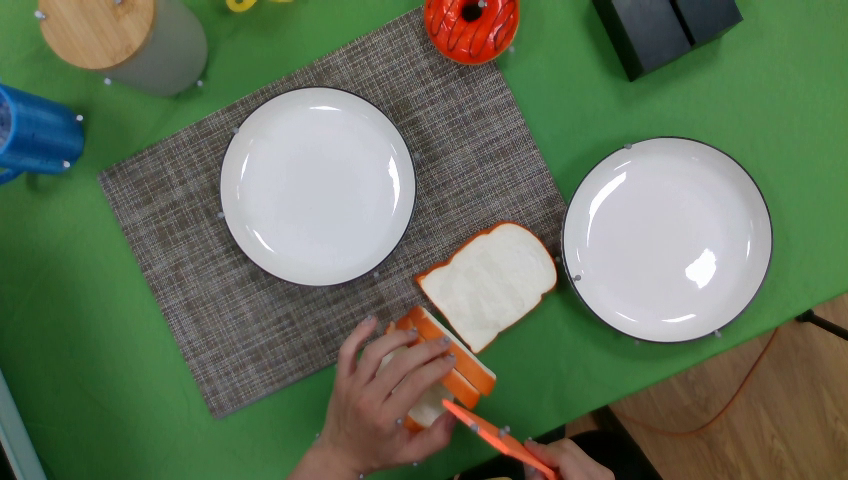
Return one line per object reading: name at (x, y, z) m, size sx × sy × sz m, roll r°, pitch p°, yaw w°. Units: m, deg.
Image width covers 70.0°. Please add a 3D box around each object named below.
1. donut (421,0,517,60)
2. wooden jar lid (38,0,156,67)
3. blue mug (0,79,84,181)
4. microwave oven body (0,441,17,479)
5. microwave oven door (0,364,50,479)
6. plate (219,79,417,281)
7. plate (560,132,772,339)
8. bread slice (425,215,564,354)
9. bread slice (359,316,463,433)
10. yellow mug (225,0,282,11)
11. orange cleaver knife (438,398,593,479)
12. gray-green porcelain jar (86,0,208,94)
donut at (0.047, -0.235, 0.622) m, size 0.099 × 0.048 × 0.099 m, roll 0°, pitch 92°, yaw 3°
wooden jar lid at (-0.291, -0.208, 0.545) m, size 0.108 × 0.021 × 0.108 m, roll 0°, pitch 90°, yaw 5°
blue mug at (-0.434, -0.105, 0.629) m, size 0.082 × 0.106 × 0.116 m, roll 38°, pitch 94°, yaw 2°
microwave oven body at (-0.610, 0.238, 0.570) m, size 0.326 × 0.260 × 0.441 m, roll -23°, pitch 91°, yaw 3°
microwave oven door at (-0.460, 0.221, 0.555) m, size 0.039 × 0.244 × 0.355 m, roll -23°, pitch 90°, yaw 4°
plate at (-0.109, -0.061, 0.641) m, size 0.207 × 0.039 × 0.207 m, roll 0°, pitch 92°, yaw 4°
plate at (0.243, -0.005, 0.624) m, size 0.209 × 0.038 × 0.209 m, roll 0°, pitch 92°, yaw 4°
bread slice at (0.081, 0.034, 0.593) m, size 0.134 × 0.018 × 0.107 m, roll -33°, pitch 84°, yaw -35°
bread slice at (-0.015, 0.134, 0.599) m, size 0.105 × 0.131 × 0.019 m, roll 43°, pitch 108°, yaw 2°
yellow mug at (-0.167, -0.297, 0.627) m, size 0.100 × 0.064 × 0.131 m, roll 32°, pitch 94°, yaw 2°
orange cleaver knife at (0.088, 0.184, 0.543) m, size 0.076 × 0.213 × 0.012 m, roll 25°, pitch 80°, yaw 47°
gray-green porcelain jar at (-0.286, -0.208, 0.607) m, size 0.106 × 0.126 × 0.106 m, roll 0°, pitch 91°, yaw 4°
